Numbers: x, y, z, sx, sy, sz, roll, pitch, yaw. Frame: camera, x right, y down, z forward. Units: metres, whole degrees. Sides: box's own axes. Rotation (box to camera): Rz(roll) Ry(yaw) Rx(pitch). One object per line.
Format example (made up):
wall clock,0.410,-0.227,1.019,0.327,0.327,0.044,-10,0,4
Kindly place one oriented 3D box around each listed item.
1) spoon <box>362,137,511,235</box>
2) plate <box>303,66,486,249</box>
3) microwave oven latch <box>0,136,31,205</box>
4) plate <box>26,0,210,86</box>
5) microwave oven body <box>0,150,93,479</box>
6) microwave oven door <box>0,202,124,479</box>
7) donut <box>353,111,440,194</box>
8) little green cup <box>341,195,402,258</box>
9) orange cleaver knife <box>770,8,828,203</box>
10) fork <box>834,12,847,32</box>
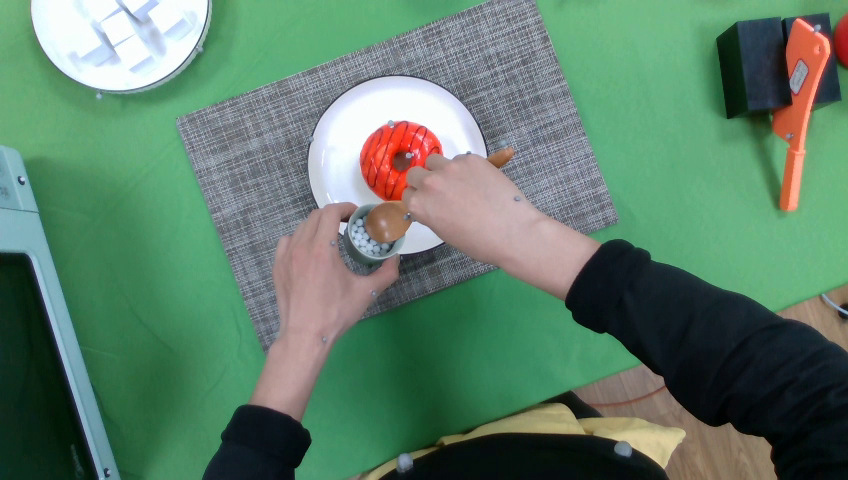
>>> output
spoon,0.007,-0.048,0.567,0.021,0.193,0.042,-41,102,-44
plate,-0.033,-0.093,0.700,0.209,0.038,0.209,0,90,0
microwave oven latch,-0.476,-0.077,0.686,0.030,0.029,0.079,-17,90,-1
plate,-0.350,-0.280,0.706,0.208,0.039,0.207,0,89,0
microwave oven body,-0.563,0.134,0.588,0.326,0.260,0.441,-18,90,-1
microwave oven door,-0.411,0.130,0.583,0.039,0.244,0.355,-18,89,0
donut,-0.030,-0.098,0.689,0.099,0.048,0.099,0,92,1
little green cup,-0.057,-0.011,0.625,0.062,0.038,0.061,8,68,-19
orange cleaver knife,0.412,-0.146,0.682,0.012,0.076,0.213,-6,119,2
fork,0.564,-0.246,0.651,0.206,0.019,0.028,8,87,42
